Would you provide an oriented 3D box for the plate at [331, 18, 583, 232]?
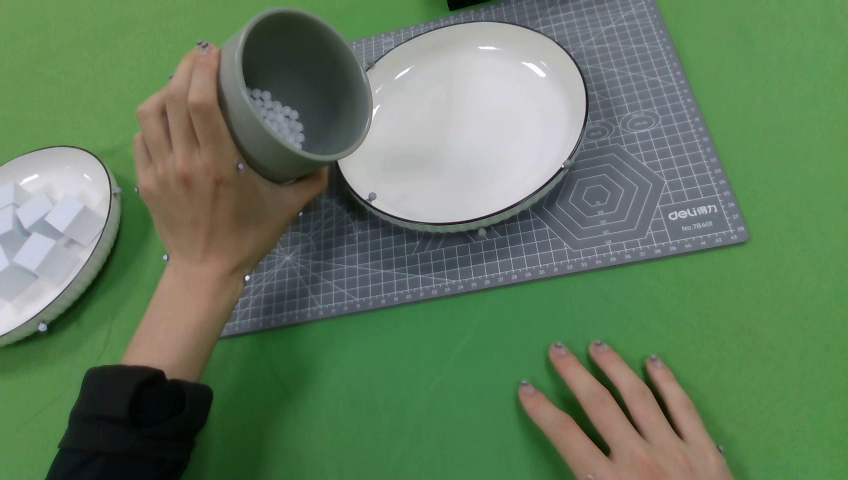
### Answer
[{"bbox_3d":[0.024,-0.094,0.496,0.209,0.038,0.207,-7,60,13],"label":"plate"}]

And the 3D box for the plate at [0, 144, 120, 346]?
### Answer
[{"bbox_3d":[-0.370,0.005,0.558,0.207,0.039,0.206,-7,60,12],"label":"plate"}]

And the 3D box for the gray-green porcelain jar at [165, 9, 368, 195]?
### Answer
[{"bbox_3d":[-0.121,-0.093,0.446,0.126,0.107,0.105,-13,53,44],"label":"gray-green porcelain jar"}]
